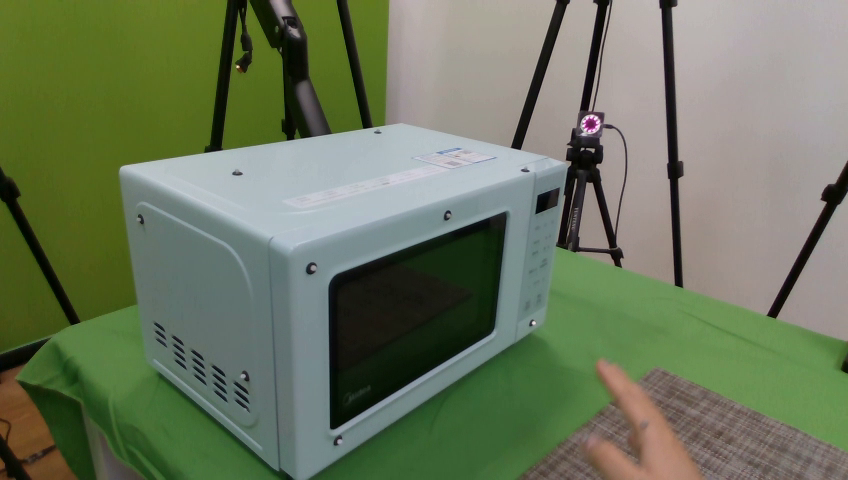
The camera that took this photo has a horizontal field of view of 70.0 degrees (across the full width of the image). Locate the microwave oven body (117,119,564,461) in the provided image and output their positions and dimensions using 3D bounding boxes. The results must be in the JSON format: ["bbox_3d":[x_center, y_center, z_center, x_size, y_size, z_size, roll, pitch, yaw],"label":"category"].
[{"bbox_3d":[-0.088,0.022,0.765,0.323,0.262,0.443,21,29,37],"label":"microwave oven body"}]

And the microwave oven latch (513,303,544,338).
[{"bbox_3d":[0.136,0.108,0.840,0.030,0.030,0.079,22,29,37],"label":"microwave oven latch"}]

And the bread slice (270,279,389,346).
[{"bbox_3d":[-0.113,0.083,0.759,0.132,0.019,0.104,-17,30,-35],"label":"bread slice"}]

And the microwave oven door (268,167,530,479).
[{"bbox_3d":[-0.007,0.068,0.646,0.039,0.245,0.357,21,28,37],"label":"microwave oven door"}]

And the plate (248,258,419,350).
[{"bbox_3d":[-0.110,0.080,0.755,0.209,0.038,0.207,2,22,0],"label":"plate"}]
